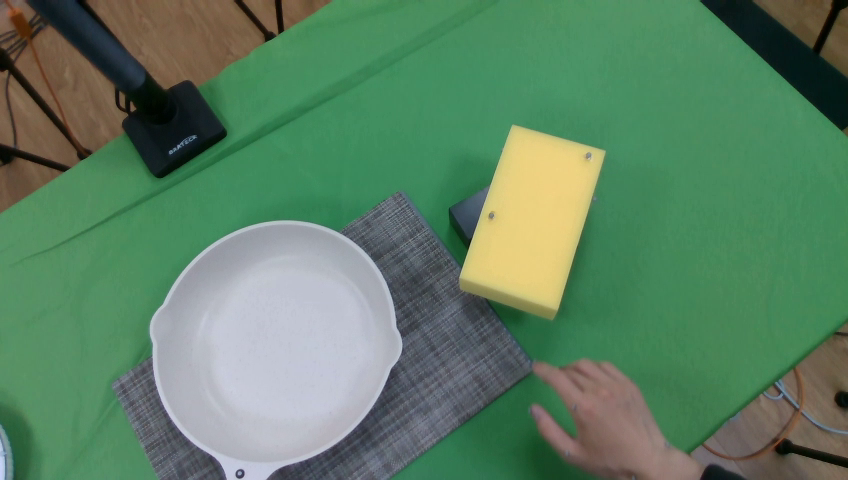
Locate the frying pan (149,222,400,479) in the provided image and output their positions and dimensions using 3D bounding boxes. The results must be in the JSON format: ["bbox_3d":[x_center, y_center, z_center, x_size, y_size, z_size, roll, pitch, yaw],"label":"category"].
[{"bbox_3d":[-0.191,0.216,0.700,0.306,0.103,0.484,5,64,7],"label":"frying pan"}]

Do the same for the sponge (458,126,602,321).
[{"bbox_3d":[0.127,-0.022,0.729,0.118,0.061,0.206,17,73,10],"label":"sponge"}]

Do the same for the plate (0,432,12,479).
[{"bbox_3d":[-0.600,0.308,0.738,0.207,0.039,0.206,-1,72,3],"label":"plate"}]
